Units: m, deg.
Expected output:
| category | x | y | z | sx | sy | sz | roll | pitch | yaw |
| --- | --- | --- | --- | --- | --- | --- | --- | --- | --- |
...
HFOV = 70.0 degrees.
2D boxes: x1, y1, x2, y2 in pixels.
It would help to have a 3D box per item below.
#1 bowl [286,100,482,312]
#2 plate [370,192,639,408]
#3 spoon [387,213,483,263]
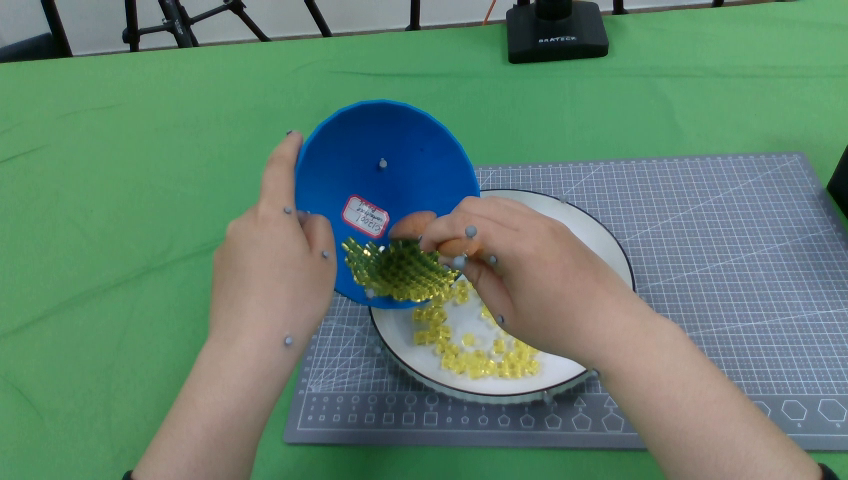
| category | x | y | z | sx | sy | sz | roll | pitch | yaw |
| --- | --- | --- | --- | --- | --- | --- | --- | --- | --- |
| bowl | -0.039 | -0.021 | 0.459 | 0.151 | 0.152 | 0.076 | -41 | 16 | -26 |
| plate | 0.062 | 0.044 | 0.487 | 0.207 | 0.039 | 0.205 | -4 | 47 | 5 |
| spoon | 0.007 | 0.000 | 0.384 | 0.041 | 0.022 | 0.192 | -24 | 12 | -9 |
